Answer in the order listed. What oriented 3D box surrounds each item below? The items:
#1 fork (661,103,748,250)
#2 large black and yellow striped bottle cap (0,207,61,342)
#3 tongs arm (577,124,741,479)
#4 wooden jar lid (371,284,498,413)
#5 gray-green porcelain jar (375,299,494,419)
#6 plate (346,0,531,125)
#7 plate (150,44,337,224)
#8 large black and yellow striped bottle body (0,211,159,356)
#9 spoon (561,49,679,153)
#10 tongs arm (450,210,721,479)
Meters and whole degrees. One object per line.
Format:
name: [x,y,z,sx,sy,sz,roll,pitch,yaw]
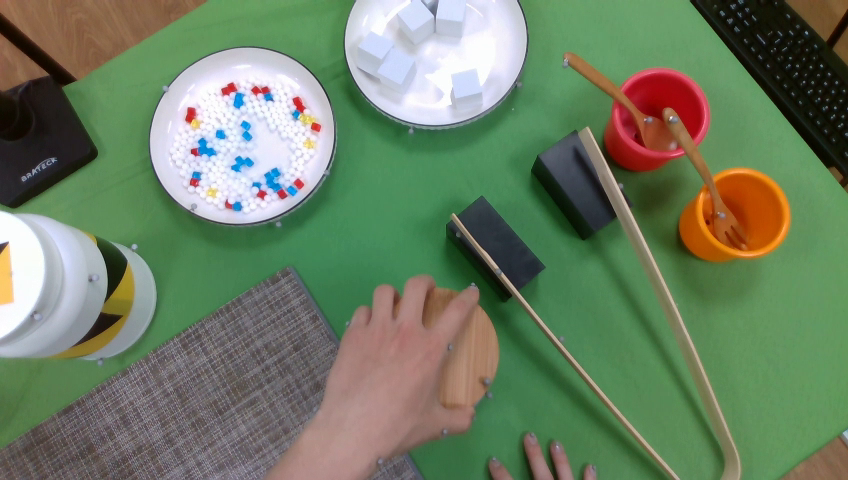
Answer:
fork: [0.279,-0.058,0.599,0.028,0.018,0.209,-43,125,3]
large black and yellow striped bottle cap: [-0.364,0.029,0.504,0.115,0.019,0.114,0,81,1]
tongs arm: [0.235,0.062,0.610,0.028,0.028,0.387,-24,90,-10]
wooden jar lid: [0.010,0.092,0.520,0.108,0.021,0.108,0,81,3]
gray-green porcelain jar: [0.012,0.115,0.590,0.106,0.127,0.105,0,79,2]
plate: [0.016,-0.226,0.695,0.207,0.039,0.207,0,80,3]
plate: [-0.199,-0.118,0.683,0.209,0.038,0.208,0,80,2]
large black and yellow striped bottle body: [-0.360,0.046,0.587,0.131,0.184,0.130,0,79,2]
spoon: [0.205,-0.143,0.619,0.195,0.021,0.041,27,76,-36]
tongs arm: [0.164,0.108,0.603,0.051,0.026,0.385,-38,91,-7]
